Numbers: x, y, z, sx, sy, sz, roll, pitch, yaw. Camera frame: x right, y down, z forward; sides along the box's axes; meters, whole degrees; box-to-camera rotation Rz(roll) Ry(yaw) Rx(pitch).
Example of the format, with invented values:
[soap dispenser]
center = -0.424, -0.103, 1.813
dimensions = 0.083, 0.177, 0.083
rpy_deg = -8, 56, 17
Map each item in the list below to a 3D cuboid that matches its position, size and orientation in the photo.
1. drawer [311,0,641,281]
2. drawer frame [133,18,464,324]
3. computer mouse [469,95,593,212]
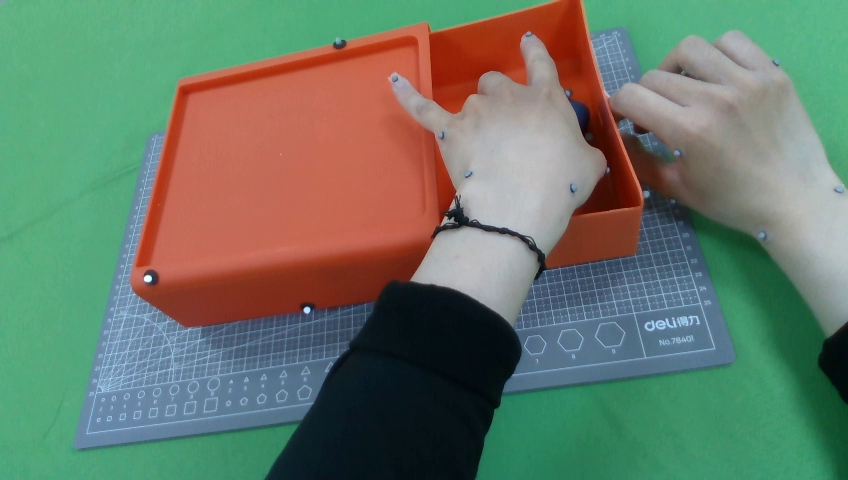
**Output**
[drawer]
center = 0.029, -0.070, 0.438
dimensions = 0.211, 0.074, 0.192
rpy_deg = -10, 59, 10
[drawer frame]
center = -0.083, -0.051, 0.455
dimensions = 0.213, 0.083, 0.199
rpy_deg = -10, 58, 10
[computer mouse]
center = 0.077, -0.069, 0.432
dimensions = 0.062, 0.041, 0.116
rpy_deg = 6, 48, 30
